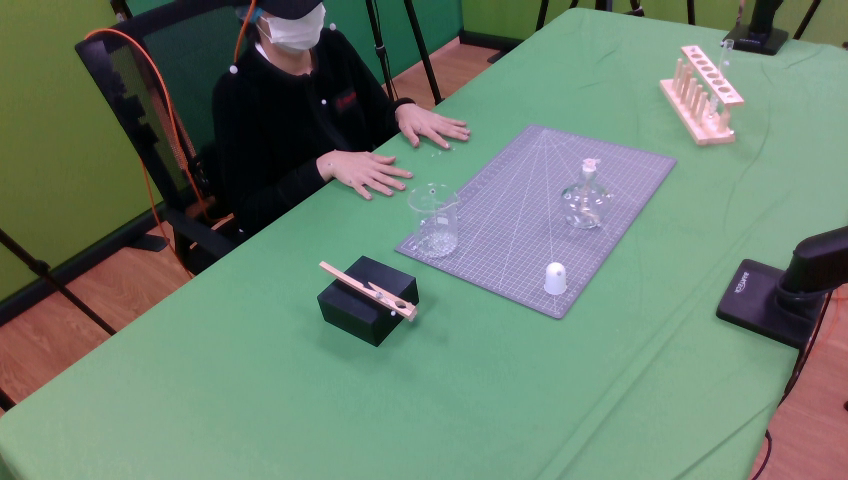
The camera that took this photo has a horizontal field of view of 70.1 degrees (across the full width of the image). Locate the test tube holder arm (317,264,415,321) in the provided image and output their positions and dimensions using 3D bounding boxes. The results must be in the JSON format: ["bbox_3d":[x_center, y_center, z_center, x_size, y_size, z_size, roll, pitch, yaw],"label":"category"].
[{"bbox_3d":[-0.083,0.070,0.833,0.177,0.015,0.013,22,54,30],"label":"test tube holder arm"}]

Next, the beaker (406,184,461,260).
[{"bbox_3d":[0.019,-0.026,0.939,0.084,0.101,0.074,1,41,9],"label":"beaker"}]

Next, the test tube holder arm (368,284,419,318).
[{"bbox_3d":[-0.044,0.081,0.813,0.087,0.015,0.010,23,55,31],"label":"test tube holder arm"}]

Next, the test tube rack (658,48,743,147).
[{"bbox_3d":[0.532,-0.284,1.180,0.067,0.085,0.241,-5,40,4],"label":"test tube rack"}]

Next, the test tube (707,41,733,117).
[{"bbox_3d":[0.542,-0.293,1.111,0.017,0.151,0.017,-4,43,5],"label":"test tube"}]

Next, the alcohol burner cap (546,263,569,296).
[{"bbox_3d":[0.191,0.053,0.862,0.034,0.048,0.033,-5,40,4],"label":"alcohol burner cap"}]

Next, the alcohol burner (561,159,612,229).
[{"bbox_3d":[0.257,-0.077,0.951,0.078,0.119,0.077,-3,40,3],"label":"alcohol burner"}]
